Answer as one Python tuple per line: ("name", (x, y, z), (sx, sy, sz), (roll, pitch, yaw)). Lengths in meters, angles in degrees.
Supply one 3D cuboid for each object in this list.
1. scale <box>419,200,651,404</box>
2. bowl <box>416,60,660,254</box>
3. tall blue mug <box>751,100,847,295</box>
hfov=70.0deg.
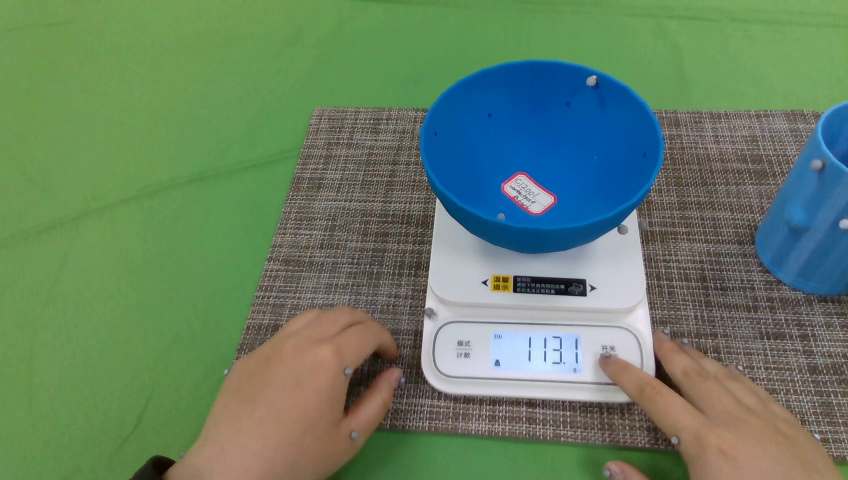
("scale", (0.077, 0.014, 0.431), (0.148, 0.032, 0.199), (1, 54, 7))
("bowl", (0.072, -0.043, 0.407), (0.151, 0.077, 0.150), (-2, 53, 3))
("tall blue mug", (0.281, -0.016, 0.384), (0.106, 0.109, 0.077), (37, 64, 28))
